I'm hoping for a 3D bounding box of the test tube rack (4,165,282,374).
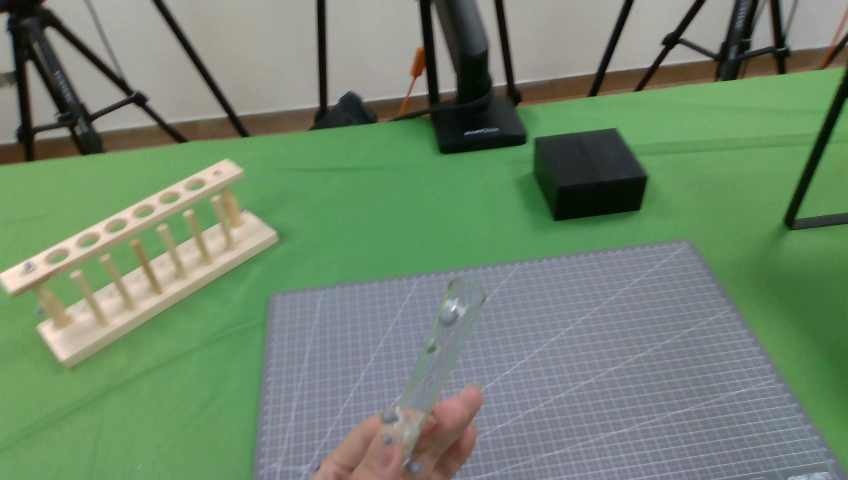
[{"bbox_3d":[-0.273,0.022,0.621,0.242,0.086,0.066,-35,50,-30],"label":"test tube rack"}]

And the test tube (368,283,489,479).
[{"bbox_3d":[-0.003,0.076,0.272,0.017,0.151,0.017,13,39,-10],"label":"test tube"}]
